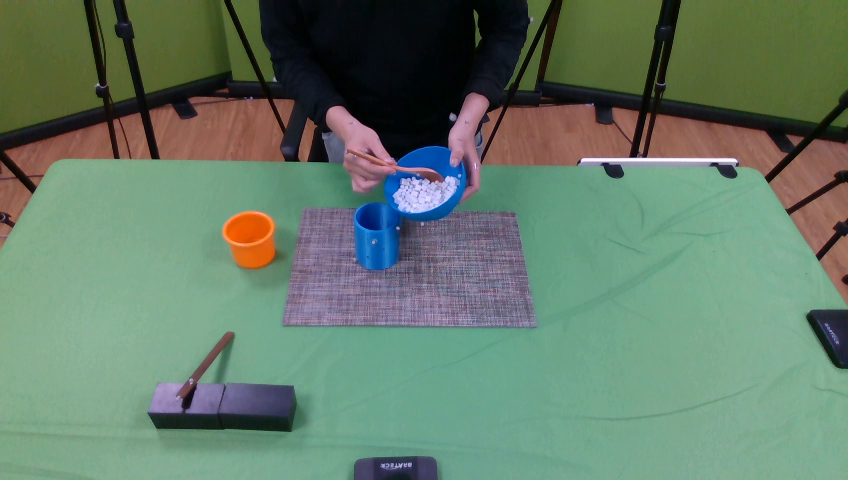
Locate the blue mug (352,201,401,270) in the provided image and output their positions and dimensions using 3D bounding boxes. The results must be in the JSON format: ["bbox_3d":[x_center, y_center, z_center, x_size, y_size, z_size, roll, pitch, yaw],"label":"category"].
[{"bbox_3d":[-0.082,-0.017,1.144,0.082,0.106,0.116,30,51,22],"label":"blue mug"}]

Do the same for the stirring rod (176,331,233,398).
[{"bbox_3d":[-0.342,0.192,0.955,0.014,0.006,0.175,3,24,7],"label":"stirring rod"}]

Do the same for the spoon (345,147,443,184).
[{"bbox_3d":[-0.048,-0.129,1.052,0.194,0.041,0.021,11,79,-32],"label":"spoon"}]

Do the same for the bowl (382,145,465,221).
[{"bbox_3d":[0.009,-0.087,1.083,0.151,0.077,0.150,-11,55,16],"label":"bowl"}]
